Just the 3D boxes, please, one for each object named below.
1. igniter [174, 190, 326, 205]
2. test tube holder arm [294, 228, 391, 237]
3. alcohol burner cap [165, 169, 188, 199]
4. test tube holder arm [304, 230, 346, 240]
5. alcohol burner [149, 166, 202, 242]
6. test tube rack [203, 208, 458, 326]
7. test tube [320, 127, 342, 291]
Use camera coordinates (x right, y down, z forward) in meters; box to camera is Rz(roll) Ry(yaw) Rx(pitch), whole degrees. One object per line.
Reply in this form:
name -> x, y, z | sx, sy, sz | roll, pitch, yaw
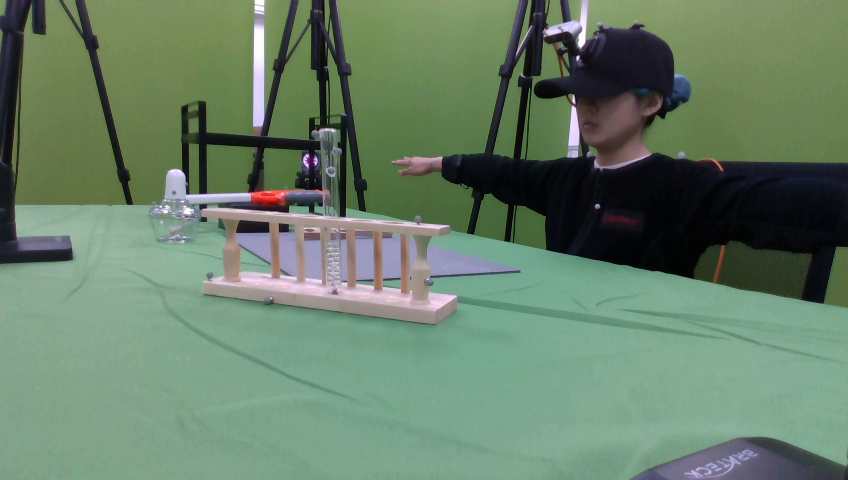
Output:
igniter -> -0.317, -0.079, 1.132 | 0.278, 0.025, 0.057 | -4, 13, -32
test tube holder arm -> -0.138, -0.013, 1.054 | 0.179, 0.015, 0.013 | -1, 44, -32
alcohol burner cap -> -0.386, -0.087, 0.943 | 0.034, 0.048, 0.034 | 4, 7, 0
test tube holder arm -> -0.175, -0.009, 1.027 | 0.088, 0.015, 0.010 | 0, 43, -31
alcohol burner -> -0.388, -0.056, 0.947 | 0.078, 0.119, 0.078 | 5, 6, 0
test tube rack -> -0.090, 0.019, 0.579 | 0.241, 0.085, 0.067 | 5, 7, 19
test tube -> -0.084, -0.027, 0.554 | 0.017, 0.150, 0.017 | -1, 6, 0
